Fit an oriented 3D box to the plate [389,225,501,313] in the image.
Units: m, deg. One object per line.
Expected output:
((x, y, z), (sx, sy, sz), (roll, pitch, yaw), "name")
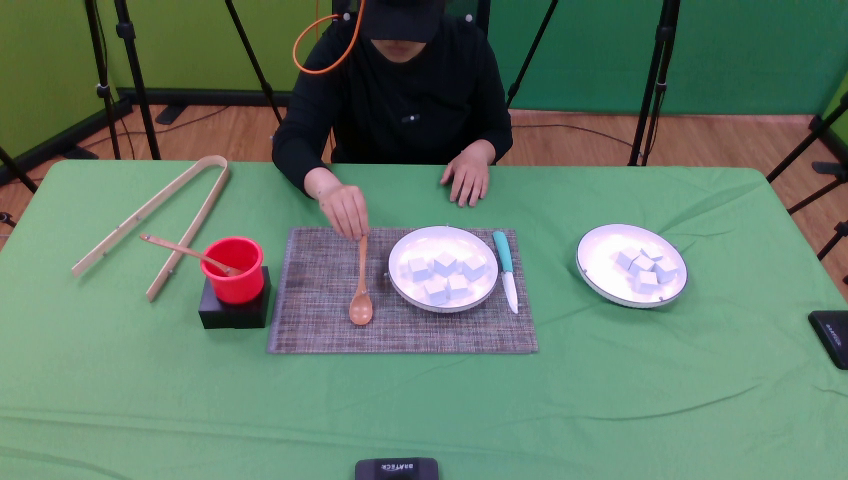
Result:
((0.038, 0.057, 1.129), (0.208, 0.039, 0.206), (2, 46, -2), "plate")

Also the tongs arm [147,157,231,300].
((-0.454, -0.036, 1.193), (0.028, 0.028, 0.385), (6, 46, 6), "tongs arm")

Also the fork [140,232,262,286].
((-0.357, 0.032, 0.985), (0.208, 0.018, 0.028), (30, 42, -35), "fork")

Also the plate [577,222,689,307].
((0.396, 0.050, 1.165), (0.209, 0.038, 0.208), (2, 47, -2), "plate")

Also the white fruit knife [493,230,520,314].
((0.160, 0.057, 1.154), (0.027, 0.016, 0.206), (-21, 46, 16), "white fruit knife")

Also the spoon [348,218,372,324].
((-0.110, 0.053, 1.076), (0.041, 0.021, 0.193), (2, 80, -3), "spoon")

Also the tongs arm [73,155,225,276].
((-0.531, -0.058, 1.205), (0.050, 0.026, 0.383), (18, 47, 13), "tongs arm")
